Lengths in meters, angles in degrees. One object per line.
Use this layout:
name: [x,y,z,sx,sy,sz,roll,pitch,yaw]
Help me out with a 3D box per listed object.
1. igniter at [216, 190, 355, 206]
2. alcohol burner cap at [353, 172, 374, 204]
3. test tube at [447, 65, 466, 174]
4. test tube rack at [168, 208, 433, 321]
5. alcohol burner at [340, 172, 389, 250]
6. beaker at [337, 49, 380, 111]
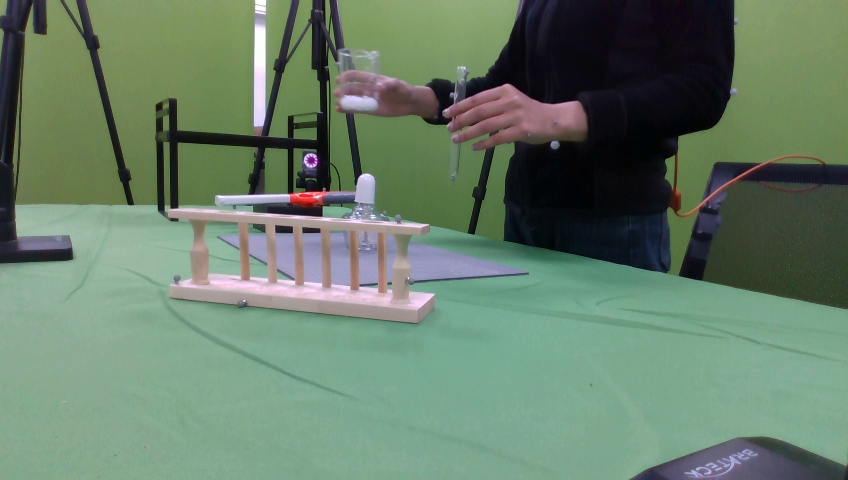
igniter: [-0.248,-0.080,1.152,0.278,0.025,0.057,-4,11,-27]
alcohol burner cap: [-0.092,-0.081,0.935,0.034,0.048,0.034,6,8,0]
test tube: [0.044,-0.168,0.848,0.017,0.150,0.017,4,8,0]
test tube rack: [-0.115,0.018,0.574,0.242,0.085,0.067,4,8,13]
alcohol burner: [-0.093,-0.045,0.939,0.078,0.119,0.078,-1,7,0]
beaker: [-0.112,-0.280,1.066,0.074,0.100,0.083,-7,13,-36]
